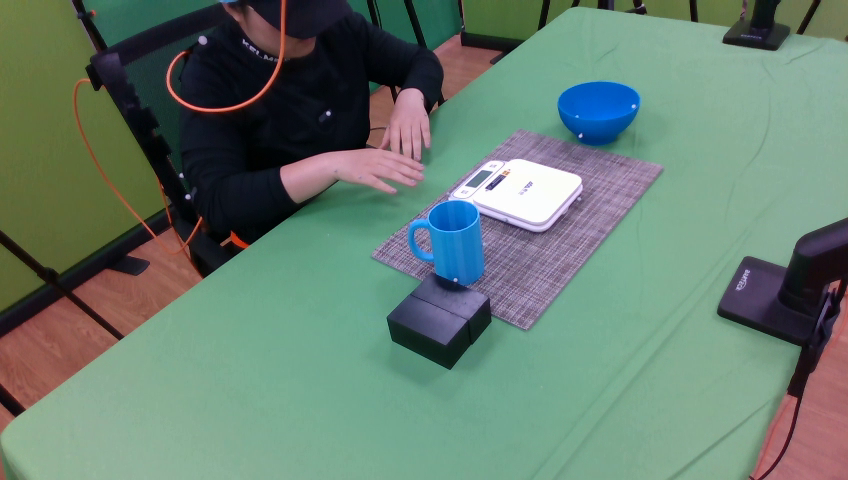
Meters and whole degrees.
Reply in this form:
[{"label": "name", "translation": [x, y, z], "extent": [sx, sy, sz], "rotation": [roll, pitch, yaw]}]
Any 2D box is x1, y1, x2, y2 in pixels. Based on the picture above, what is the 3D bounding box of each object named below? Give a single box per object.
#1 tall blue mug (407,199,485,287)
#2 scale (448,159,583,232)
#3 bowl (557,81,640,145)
[{"label": "tall blue mug", "translation": [0.034, 0.008, 0.892], "extent": [0.107, 0.108, 0.077], "rotation": [-13, 41, -5]}, {"label": "scale", "translation": [0.156, -0.085, 1.039], "extent": [0.199, 0.032, 0.149], "rotation": [22, 49, 32]}, {"label": "bowl", "translation": [0.330, -0.233, 1.152], "extent": [0.151, 0.077, 0.150], "rotation": [-5, 40, 5]}]
